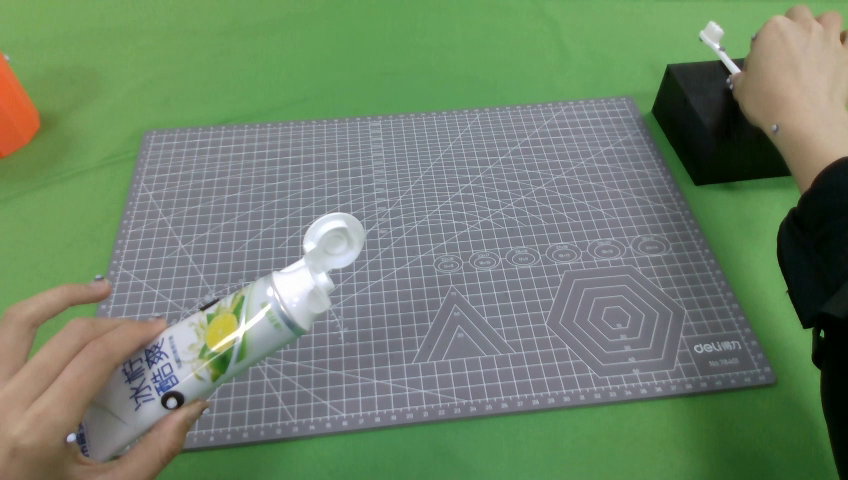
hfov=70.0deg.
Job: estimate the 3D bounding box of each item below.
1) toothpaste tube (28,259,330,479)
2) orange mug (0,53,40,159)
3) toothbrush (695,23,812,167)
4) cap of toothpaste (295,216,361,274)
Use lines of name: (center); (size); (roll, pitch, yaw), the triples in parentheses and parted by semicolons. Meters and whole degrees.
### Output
toothpaste tube: (-0.120, 0.060, 0.302); (0.165, 0.035, 0.054); (-32, 59, -4)
orange mug: (-0.403, -0.116, 0.499); (0.083, 0.101, 0.126); (28, 52, 21)
toothbrush: (0.269, -0.125, 0.499); (0.014, 0.017, 0.180); (9, 47, -22)
cap of toothpaste: (-0.050, 0.004, 0.321); (0.037, 0.037, 0.011); (-23, 34, -17)
